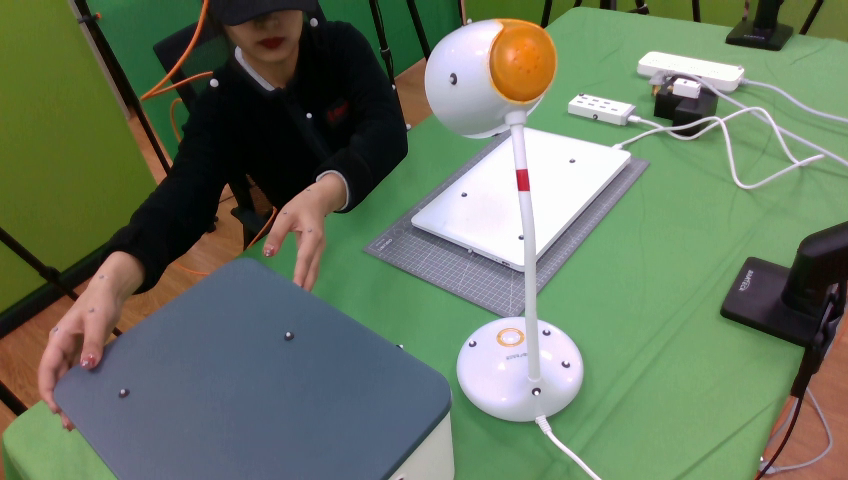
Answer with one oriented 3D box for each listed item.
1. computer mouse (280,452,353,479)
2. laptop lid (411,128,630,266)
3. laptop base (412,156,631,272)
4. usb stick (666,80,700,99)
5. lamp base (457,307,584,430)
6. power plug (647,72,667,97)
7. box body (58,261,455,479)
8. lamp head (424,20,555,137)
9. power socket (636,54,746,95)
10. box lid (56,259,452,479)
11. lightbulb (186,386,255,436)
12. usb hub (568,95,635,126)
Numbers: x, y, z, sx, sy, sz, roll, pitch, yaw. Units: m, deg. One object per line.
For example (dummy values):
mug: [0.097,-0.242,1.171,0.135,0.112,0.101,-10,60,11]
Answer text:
computer mouse: [-0.110,0.277,0.658,0.116,0.041,0.063,22,51,37]
laptop lid: [0.172,-0.093,1.049,0.239,0.013,0.358,23,49,36]
laptop base: [0.176,-0.084,1.055,0.233,0.023,0.355,21,48,36]
usb stick: [0.492,-0.288,1.152,0.058,0.027,0.021,20,50,34]
lamp base: [0.115,0.108,0.713,0.161,0.181,0.178,-16,43,-8]
power plug: [0.494,-0.320,1.260,0.073,0.052,0.035,1,20,-41]
box body: [-0.171,0.209,0.662,0.361,0.161,0.255,24,51,34]
lamp head: [0.069,-0.153,0.572,0.113,0.112,0.122,-21,16,-14]
power socket: [0.564,-0.357,1.293,0.225,0.033,0.072,24,51,33]
box lid: [-0.180,0.153,0.613,0.368,0.015,0.264,24,50,35]
lightbulb: [-0.259,0.213,0.758,0.107,0.060,0.059,-9,35,33]
usb hub: [0.360,-0.264,1.228,0.124,0.025,0.049,24,49,34]
